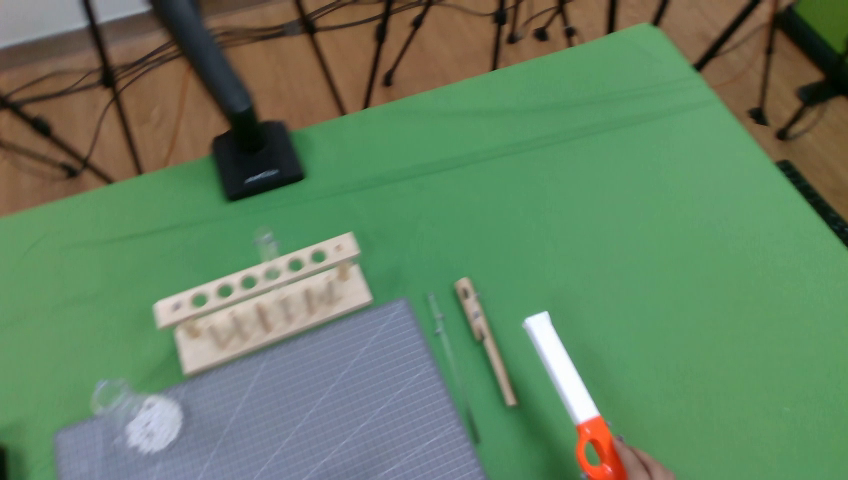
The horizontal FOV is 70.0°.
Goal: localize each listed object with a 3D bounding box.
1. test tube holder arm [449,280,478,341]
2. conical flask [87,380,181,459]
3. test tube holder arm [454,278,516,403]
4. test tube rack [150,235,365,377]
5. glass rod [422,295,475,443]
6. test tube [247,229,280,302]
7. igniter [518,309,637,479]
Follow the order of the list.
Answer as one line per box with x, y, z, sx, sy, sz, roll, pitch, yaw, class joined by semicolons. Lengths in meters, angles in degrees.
0.055;0.092;0.800;0.010;0.015;0.087;-34;61;19;test tube holder arm
-0.325;0.192;0.670;0.075;0.123;0.074;0;59;0;conical flask
0.076;0.126;0.777;0.013;0.015;0.176;-35;61;19;test tube holder arm
-0.201;0.082;0.762;0.242;0.086;0.066;-21;62;-13;test tube rack
0.030;0.158;0.765;0.008;0.008;0.198;-15;63;-10;glass rod
-0.192;0.036;0.732;0.017;0.151;0.017;1;55;-2;test tube
0.177;0.203;0.659;0.057;0.025;0.274;-16;67;-19;igniter
